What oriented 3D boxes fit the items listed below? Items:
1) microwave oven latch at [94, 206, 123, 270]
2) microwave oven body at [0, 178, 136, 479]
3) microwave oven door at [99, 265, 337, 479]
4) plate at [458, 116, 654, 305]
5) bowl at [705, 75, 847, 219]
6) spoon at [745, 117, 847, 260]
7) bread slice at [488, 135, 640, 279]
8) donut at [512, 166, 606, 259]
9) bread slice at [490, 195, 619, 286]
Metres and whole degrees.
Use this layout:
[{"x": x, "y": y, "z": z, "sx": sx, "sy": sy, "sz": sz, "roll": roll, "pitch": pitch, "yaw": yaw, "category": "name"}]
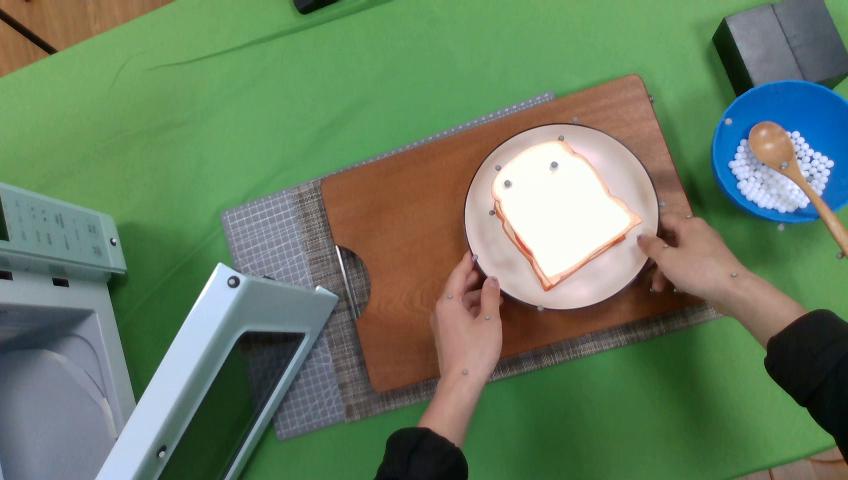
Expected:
[{"x": -0.411, "y": -0.003, "z": 0.772, "sx": 0.030, "sy": 0.029, "sz": 0.079, "roll": -20, "pitch": 80, "yaw": 6, "category": "microwave oven latch"}, {"x": -0.508, "y": 0.198, "z": 0.661, "sx": 0.326, "sy": 0.261, "sz": 0.439, "roll": -21, "pitch": 80, "yaw": 6, "category": "microwave oven body"}, {"x": -0.223, "y": 0.194, "z": 0.608, "sx": 0.039, "sy": 0.245, "sz": 0.355, "roll": 28, "pitch": 87, "yaw": 13, "category": "microwave oven door"}, {"x": 0.143, "y": -0.031, "z": 0.669, "sx": 0.207, "sy": 0.039, "sz": 0.207, "roll": -1, "pitch": 82, "yaw": 10, "category": "plate"}, {"x": 0.372, "y": -0.090, "z": 0.646, "sx": 0.151, "sy": 0.077, "sz": 0.151, "roll": -1, "pitch": 82, "yaw": 10, "category": "bowl"}, {"x": 0.383, "y": -0.049, "z": 0.608, "sx": 0.041, "sy": 0.022, "sz": 0.191, "roll": -20, "pitch": 57, "yaw": 6, "category": "spoon"}, {"x": 0.130, "y": -0.039, "z": 0.612, "sx": 0.107, "sy": 0.018, "sz": 0.133, "roll": -39, "pitch": 72, "yaw": 3, "category": "bread slice"}, {"x": 0.141, "y": -0.029, "z": 0.639, "sx": 0.099, "sy": 0.048, "sz": 0.099, "roll": 0, "pitch": 85, "yaw": 4, "category": "donut"}, {"x": 0.136, "y": -0.028, "z": 0.674, "sx": 0.105, "sy": 0.019, "sz": 0.131, "roll": -36, "pitch": 81, "yaw": 1, "category": "bread slice"}]
